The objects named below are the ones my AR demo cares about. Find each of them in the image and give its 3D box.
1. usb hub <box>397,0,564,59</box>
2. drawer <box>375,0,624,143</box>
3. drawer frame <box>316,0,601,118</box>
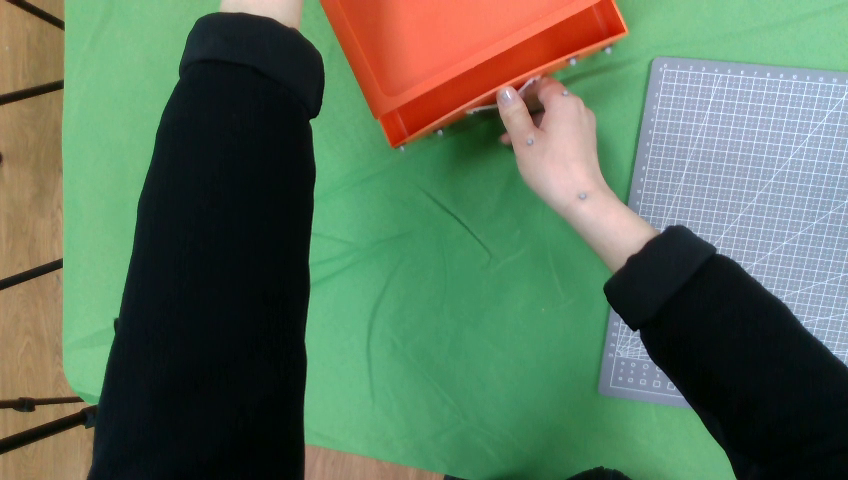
[{"bbox_3d":[0.044,-0.190,0.480,0.125,0.025,0.050,-16,111,20],"label":"usb hub"},{"bbox_3d":[0.019,-0.210,0.469,0.194,0.073,0.212,-24,96,13],"label":"drawer"},{"bbox_3d":[0.007,-0.232,0.462,0.201,0.082,0.214,-25,97,13],"label":"drawer frame"}]
